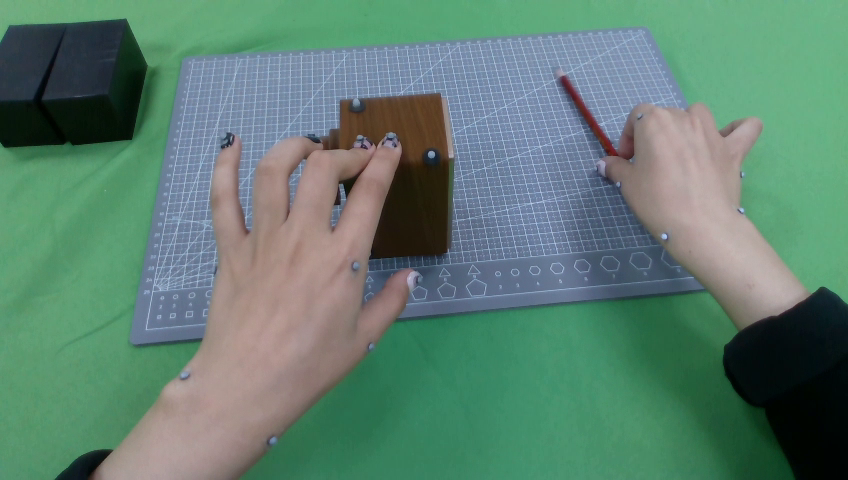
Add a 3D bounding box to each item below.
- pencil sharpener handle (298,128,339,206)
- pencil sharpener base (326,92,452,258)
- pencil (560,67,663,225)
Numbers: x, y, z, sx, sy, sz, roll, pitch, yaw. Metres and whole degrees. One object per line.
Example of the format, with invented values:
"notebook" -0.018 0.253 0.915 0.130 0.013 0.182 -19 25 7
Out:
"pencil sharpener handle" -0.074 -0.044 0.404 0.031 0.068 0.035 -4 57 -2
"pencil sharpener base" -0.022 -0.040 0.416 0.077 0.108 0.061 -4 55 -2
"pencil" 0.152 -0.088 0.511 0.012 0.012 0.192 -12 54 -9
